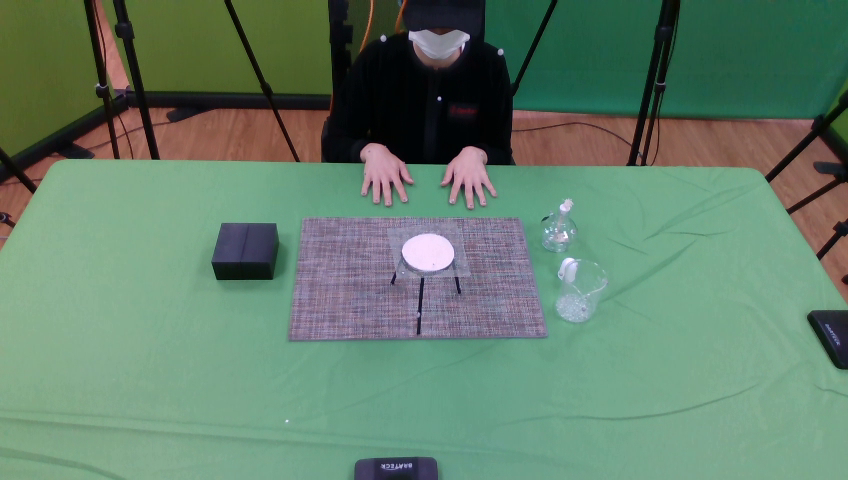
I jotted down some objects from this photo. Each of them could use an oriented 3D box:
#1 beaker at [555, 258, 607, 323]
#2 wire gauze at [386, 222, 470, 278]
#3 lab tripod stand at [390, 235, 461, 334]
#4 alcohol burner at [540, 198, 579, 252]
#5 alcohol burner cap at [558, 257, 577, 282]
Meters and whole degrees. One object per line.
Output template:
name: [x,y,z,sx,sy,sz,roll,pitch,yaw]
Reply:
beaker: [0.275,0.094,1.073,0.074,0.101,0.083,10,47,6]
wire gauze: [0.004,0.016,1.005,0.125,0.011,0.120,-5,46,-8]
lab tripod stand: [-0.001,0.067,1.050,0.148,0.132,0.147,1,47,-1]
alcohol burner: [0.267,-0.035,1.187,0.078,0.120,0.077,1,45,-1]
alcohol burner cap: [0.276,0.053,1.154,0.034,0.048,0.033,2,46,-1]
